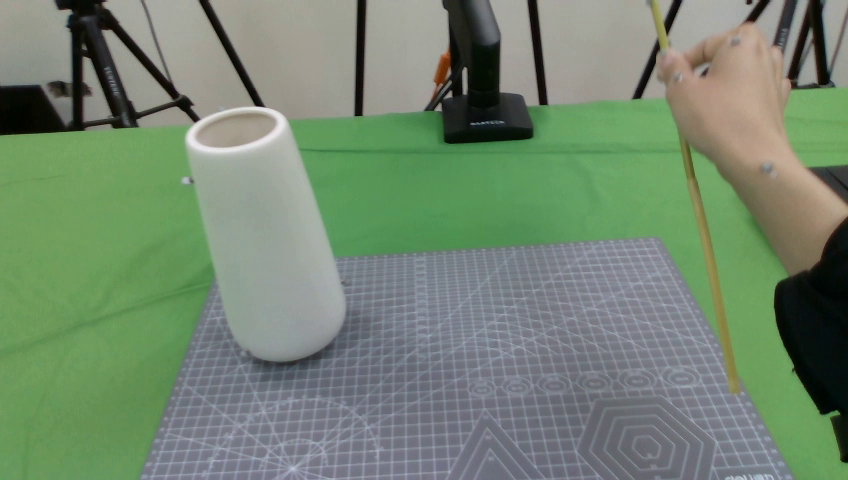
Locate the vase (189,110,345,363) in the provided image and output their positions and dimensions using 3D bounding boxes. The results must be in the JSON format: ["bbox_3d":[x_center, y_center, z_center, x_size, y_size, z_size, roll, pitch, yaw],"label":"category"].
[{"bbox_3d":[-0.120,0.003,0.477,0.098,0.202,0.097,-2,36,2],"label":"vase"}]

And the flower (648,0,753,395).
[{"bbox_3d":[0.172,-0.080,0.405,0.044,0.360,0.038,5,-17,-44],"label":"flower"}]
